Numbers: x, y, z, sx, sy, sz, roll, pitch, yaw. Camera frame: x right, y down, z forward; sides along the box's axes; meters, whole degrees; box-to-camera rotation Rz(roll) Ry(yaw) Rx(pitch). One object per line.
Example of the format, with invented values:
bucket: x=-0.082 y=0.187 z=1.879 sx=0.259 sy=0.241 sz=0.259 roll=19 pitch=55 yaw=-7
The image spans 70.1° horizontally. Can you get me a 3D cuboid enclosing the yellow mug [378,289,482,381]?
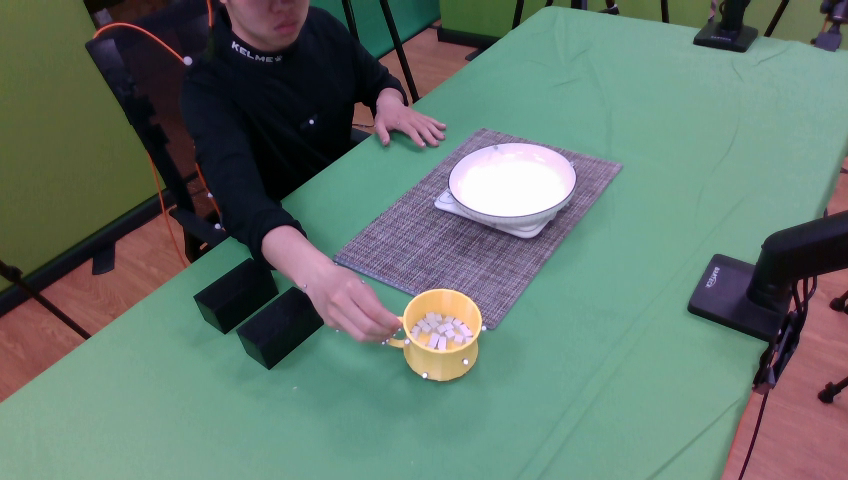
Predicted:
yellow mug: x=0.006 y=0.120 z=0.771 sx=0.131 sy=0.064 sz=0.099 roll=1 pitch=46 yaw=0

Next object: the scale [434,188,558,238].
scale: x=0.132 y=-0.075 z=1.025 sx=0.199 sy=0.032 sz=0.149 roll=22 pitch=48 yaw=30

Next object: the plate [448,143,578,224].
plate: x=0.145 y=-0.089 z=0.989 sx=0.209 sy=0.038 sz=0.208 roll=-4 pitch=41 yaw=4
